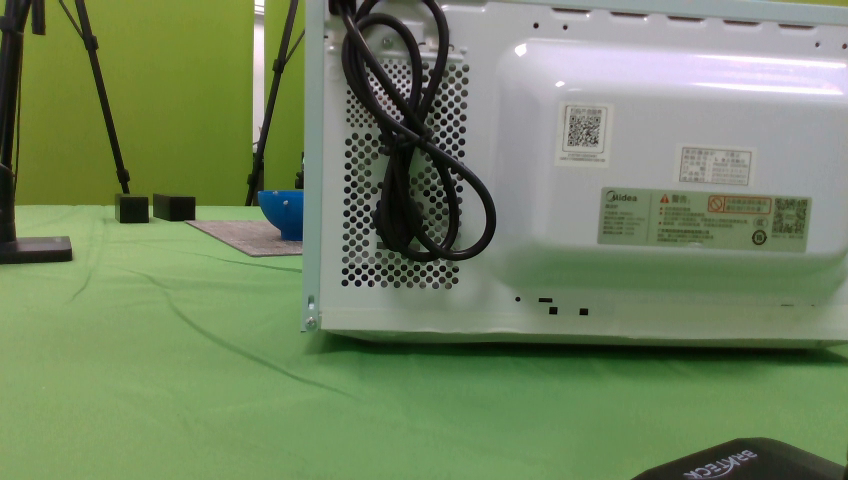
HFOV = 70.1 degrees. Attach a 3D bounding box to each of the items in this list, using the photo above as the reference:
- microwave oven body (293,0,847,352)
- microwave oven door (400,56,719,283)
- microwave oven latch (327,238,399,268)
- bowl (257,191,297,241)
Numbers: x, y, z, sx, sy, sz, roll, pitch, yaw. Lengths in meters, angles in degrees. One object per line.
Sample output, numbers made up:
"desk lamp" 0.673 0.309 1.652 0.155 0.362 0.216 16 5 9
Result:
"microwave oven body" 0.122 -0.055 0.550 0.442 0.260 0.325 3 7 -5
"microwave oven door" 0.155 -0.077 0.697 0.356 0.243 0.039 2 8 -5
"microwave oven latch" -0.069 0.015 0.694 0.079 0.029 0.030 3 7 -3
"bowl" -0.206 -0.041 1.027 0.151 0.077 0.151 3 8 0
